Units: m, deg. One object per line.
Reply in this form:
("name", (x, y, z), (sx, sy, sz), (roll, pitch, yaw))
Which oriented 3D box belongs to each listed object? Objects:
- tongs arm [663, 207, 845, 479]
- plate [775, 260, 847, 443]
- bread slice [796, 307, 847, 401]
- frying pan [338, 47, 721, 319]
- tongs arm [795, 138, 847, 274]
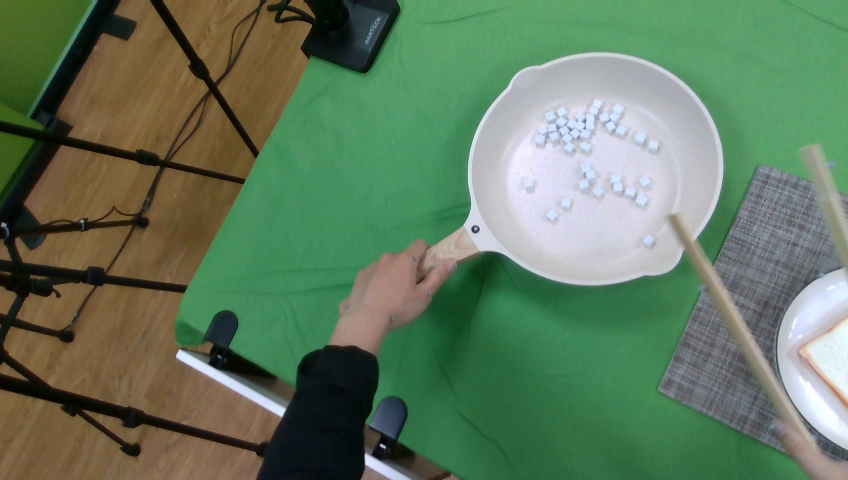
("tongs arm", (0.317, 0.131, 0.521), (0.028, 0.028, 0.388), (-34, 93, -4))
("plate", (0.482, 0.119, 0.638), (0.207, 0.039, 0.206), (-3, 75, 13))
("bread slice", (0.483, 0.111, 0.642), (0.134, 0.018, 0.106), (-41, 72, 3))
("frying pan", (0.109, -0.039, 0.737), (0.488, 0.103, 0.304), (-29, 70, -4))
("tongs arm", (0.379, 0.099, 0.519), (0.051, 0.026, 0.385), (-25, 93, -1))
